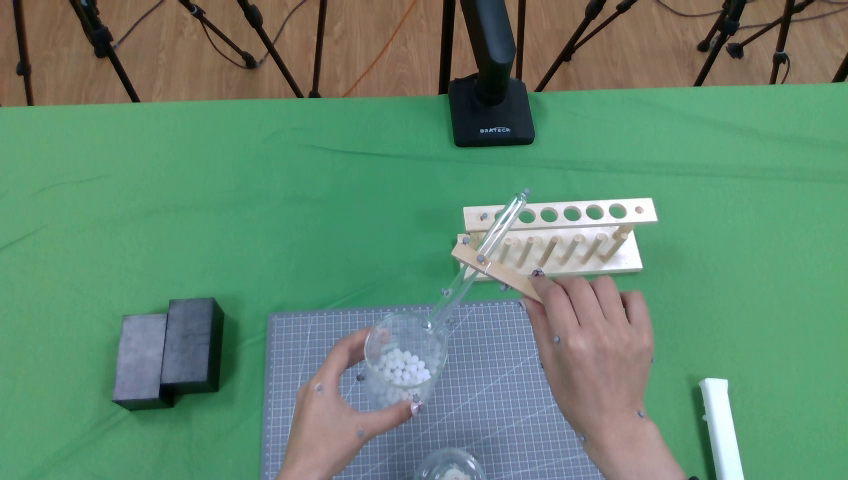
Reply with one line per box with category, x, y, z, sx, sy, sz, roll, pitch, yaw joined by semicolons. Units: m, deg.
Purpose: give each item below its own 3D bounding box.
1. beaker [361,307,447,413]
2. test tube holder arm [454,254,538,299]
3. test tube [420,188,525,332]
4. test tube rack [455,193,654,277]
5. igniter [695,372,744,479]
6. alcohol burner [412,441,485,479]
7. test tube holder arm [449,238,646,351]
beaker;-0.021;0.116;0.575;0.084;0.101;0.073;-27;66;-23
test tube holder arm;0.065;0.026;0.531;0.087;0.010;0.015;27;84;30
test tube;0.044;0.017;0.536;0.017;0.017;0.150;34;89;13
test tube rack;0.167;-0.006;0.784;0.243;0.086;0.066;-3;64;-5
igniter;0.346;0.287;0.684;0.057;0.025;0.274;7;63;-11
alcohol burner;0.027;0.247;0.632;0.078;0.120;0.077;2;62;-3
test tube holder arm;0.099;0.044;0.508;0.177;0.013;0.015;28;85;21
